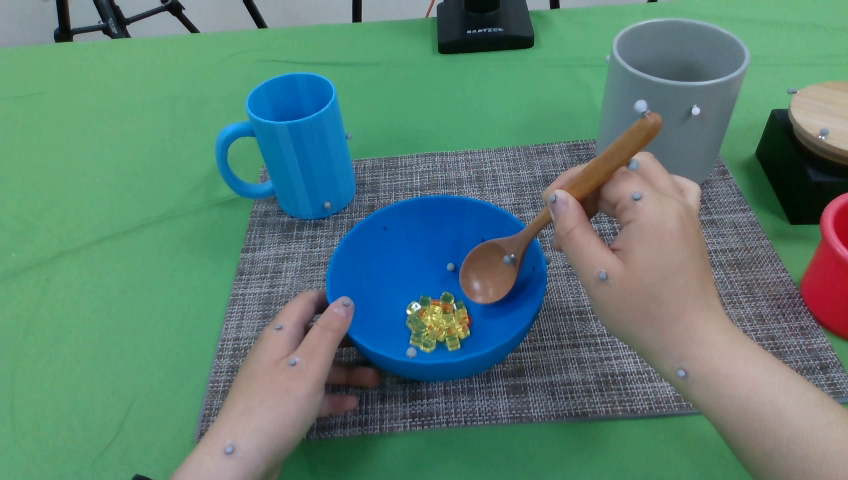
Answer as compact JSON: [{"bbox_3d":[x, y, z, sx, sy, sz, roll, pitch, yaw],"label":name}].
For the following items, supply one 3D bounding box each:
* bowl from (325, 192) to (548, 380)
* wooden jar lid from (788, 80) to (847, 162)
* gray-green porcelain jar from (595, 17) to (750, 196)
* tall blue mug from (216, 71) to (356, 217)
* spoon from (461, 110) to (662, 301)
[{"bbox_3d":[0.011,0.044,0.434,0.151,0.077,0.150,-3,47,3],"label":"bowl"},{"bbox_3d":[0.366,-0.099,0.512,0.108,0.021,0.107,-3,46,4],"label":"wooden jar lid"},{"bbox_3d":[0.208,-0.110,0.528,0.106,0.128,0.105,-3,47,3],"label":"gray-green porcelain jar"},{"bbox_3d":[-0.118,-0.076,0.538,0.077,0.109,0.107,34,58,30],"label":"tall blue mug"},{"bbox_3d":[0.073,-0.012,0.367,0.022,0.194,0.041,-19,72,-32],"label":"spoon"}]
